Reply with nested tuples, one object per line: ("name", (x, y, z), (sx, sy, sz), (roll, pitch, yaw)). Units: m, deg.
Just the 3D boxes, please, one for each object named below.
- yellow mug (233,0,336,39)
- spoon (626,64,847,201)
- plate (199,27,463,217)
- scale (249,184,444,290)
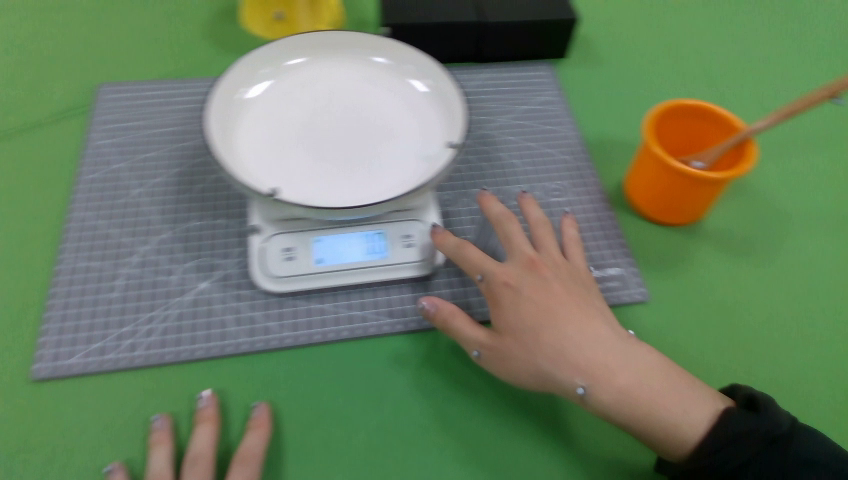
("yellow mug", (-0.142, -0.259, 0.630), (0.130, 0.064, 0.099), (33, 59, 17))
("spoon", (0.257, -0.088, 0.494), (0.022, 0.193, 0.041), (23, 44, -47))
("plate", (-0.073, -0.097, 0.497), (0.209, 0.038, 0.207), (3, 55, -4))
("scale", (-0.071, -0.055, 0.507), (0.149, 0.032, 0.199), (-6, 56, -9))
